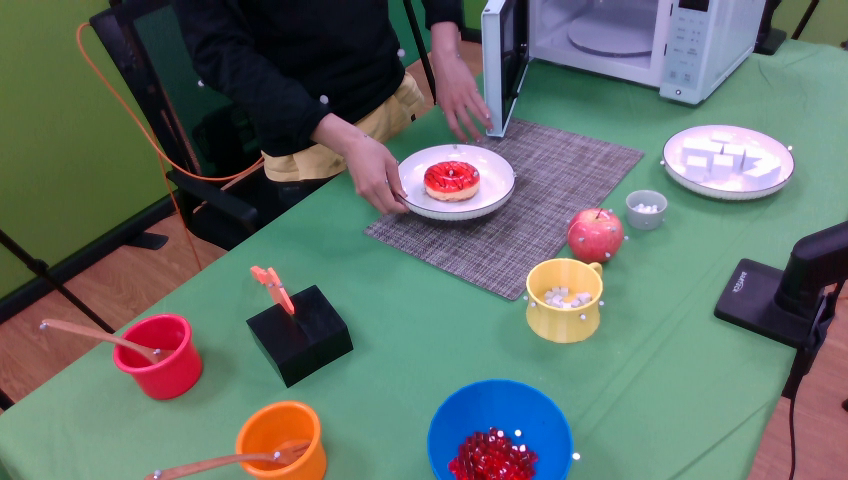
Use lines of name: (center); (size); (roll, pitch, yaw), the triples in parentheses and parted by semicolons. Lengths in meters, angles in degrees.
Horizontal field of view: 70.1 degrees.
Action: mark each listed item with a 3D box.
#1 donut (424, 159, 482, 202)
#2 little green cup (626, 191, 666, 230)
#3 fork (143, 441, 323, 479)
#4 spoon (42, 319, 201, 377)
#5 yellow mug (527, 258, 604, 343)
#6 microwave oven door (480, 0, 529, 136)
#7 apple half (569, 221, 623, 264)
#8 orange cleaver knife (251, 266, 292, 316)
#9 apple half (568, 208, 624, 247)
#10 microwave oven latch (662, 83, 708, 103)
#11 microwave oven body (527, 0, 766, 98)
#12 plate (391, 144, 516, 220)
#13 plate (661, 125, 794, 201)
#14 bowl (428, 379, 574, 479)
donut: (0.048, -0.102, 1.011); (0.099, 0.048, 0.098); (-2, 39, 2)
little green cup: (0.352, -0.046, 0.963); (0.061, 0.039, 0.061); (-4, 40, 4)
fork: (-0.189, 0.231, 0.631); (0.028, 0.018, 0.209); (35, 12, 37)
spoon: (-0.385, 0.135, 0.779); (0.195, 0.021, 0.041); (28, 37, -26)
yellow mug: (0.201, 0.073, 0.825); (0.131, 0.064, 0.099); (-32, 46, -27)
microwave oven door: (0.170, -0.408, 1.231); (0.039, 0.245, 0.355); (6, 42, 16)
apple half: (0.251, 0.010, 0.884); (0.081, 0.081, 0.032); (3, 37, 12)
orange cleaver knife: (-0.221, 0.071, 0.873); (0.012, 0.077, 0.210); (-25, 11, -21)
apple half: (0.259, -0.014, 0.914); (0.080, 0.075, 0.053); (0, 36, 15)
microwave oven latch: (0.517, -0.296, 1.204); (0.078, 0.029, 0.030); (27, 52, 35)
microwave oven body: (0.472, -0.513, 1.317); (0.438, 0.261, 0.327); (25, 51, 34)
plate: (0.050, -0.094, 1.020); (0.209, 0.038, 0.208); (-1, 39, 1)
plate: (0.513, -0.128, 1.035); (0.207, 0.039, 0.206); (-4, 40, 4)
bowl: (0.082, 0.233, 0.644); (0.151, 0.077, 0.150); (-4, 40, 4)
